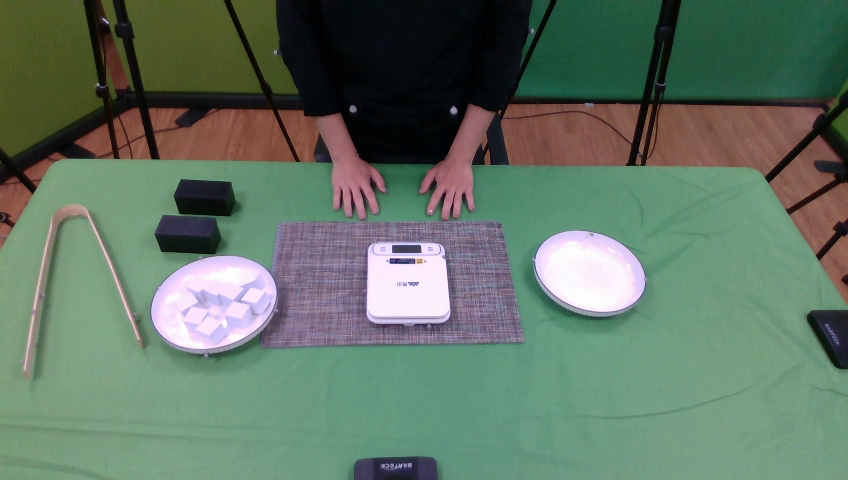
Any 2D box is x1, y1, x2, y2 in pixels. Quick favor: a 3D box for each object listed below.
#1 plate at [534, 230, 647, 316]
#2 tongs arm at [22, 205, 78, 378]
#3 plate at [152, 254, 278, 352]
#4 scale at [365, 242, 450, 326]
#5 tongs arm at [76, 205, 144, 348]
[{"bbox_3d":[0.311,0.065,1.145,0.209,0.038,0.208,2,45,-2],"label":"plate"},{"bbox_3d":[-0.652,0.073,1.067,0.051,0.026,0.382,-11,46,-15],"label":"tongs arm"},{"bbox_3d":[-0.357,0.111,1.052,0.208,0.039,0.206,2,46,-2],"label":"plate"},{"bbox_3d":[-0.032,0.071,1.113,0.149,0.032,0.199,1,46,-4],"label":"scale"},{"bbox_3d":[-0.570,0.054,1.098,0.028,0.028,0.385,-26,52,-22],"label":"tongs arm"}]
